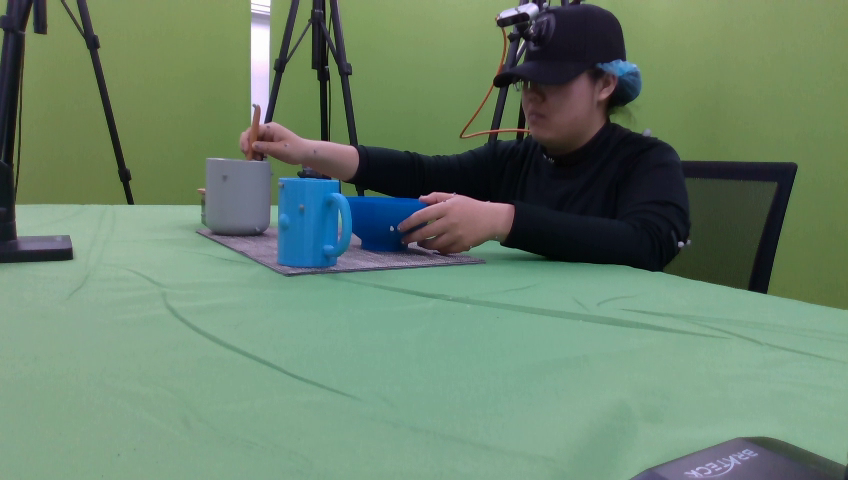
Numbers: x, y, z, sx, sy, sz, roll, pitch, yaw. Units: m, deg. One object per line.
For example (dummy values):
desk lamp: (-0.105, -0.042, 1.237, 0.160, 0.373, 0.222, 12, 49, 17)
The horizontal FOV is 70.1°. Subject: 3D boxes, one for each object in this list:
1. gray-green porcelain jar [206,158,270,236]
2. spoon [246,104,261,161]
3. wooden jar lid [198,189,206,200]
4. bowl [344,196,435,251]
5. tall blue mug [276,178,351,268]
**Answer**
gray-green porcelain jar: (-0.316, -0.074, 1.031, 0.106, 0.126, 0.106, 3, 7, 0)
spoon: (-0.304, -0.138, 1.039, 0.021, 0.193, 0.042, 24, 10, 34)
wooden jar lid: (-0.382, -0.088, 1.175, 0.108, 0.020, 0.108, 3, 8, 0)
bowl: (-0.061, -0.026, 0.943, 0.151, 0.077, 0.151, 3, 7, 0)
tall blue mug: (-0.134, -0.022, 0.766, 0.107, 0.108, 0.078, 4, 6, 12)
